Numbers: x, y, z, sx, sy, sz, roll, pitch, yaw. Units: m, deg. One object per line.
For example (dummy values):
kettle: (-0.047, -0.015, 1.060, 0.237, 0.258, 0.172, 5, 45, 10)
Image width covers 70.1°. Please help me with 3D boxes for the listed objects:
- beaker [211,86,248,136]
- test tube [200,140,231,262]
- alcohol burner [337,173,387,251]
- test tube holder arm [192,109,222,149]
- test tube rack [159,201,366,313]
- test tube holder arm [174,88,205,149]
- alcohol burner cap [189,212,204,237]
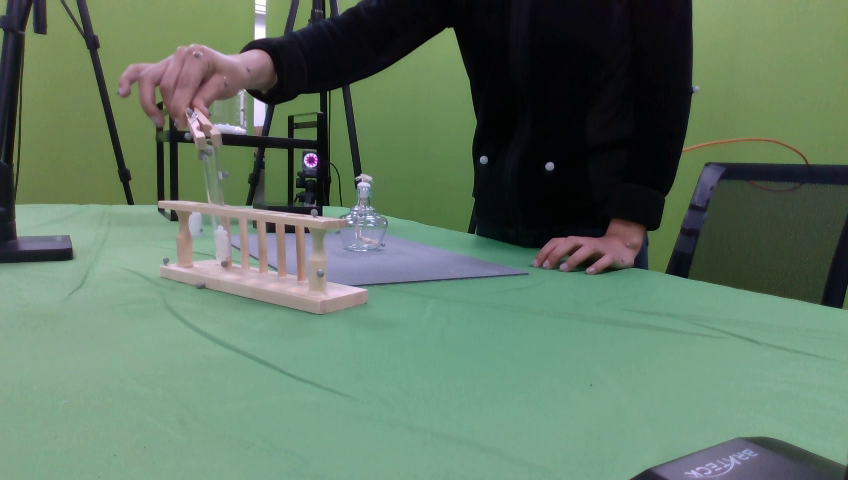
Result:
beaker: (-0.413, -0.274, 1.297, 0.074, 0.100, 0.083, -5, 11, -44)
test tube: (-0.216, -0.036, 0.628, 0.017, 0.150, 0.017, 4, 38, -3)
alcohol burner: (-0.095, -0.043, 0.926, 0.078, 0.119, 0.078, 3, 6, 0)
test tube holder arm: (-0.220, -0.111, 0.601, 0.010, 0.015, 0.087, -11, 32, -34)
test tube rack: (-0.173, 0.009, 0.624, 0.241, 0.085, 0.067, 7, 9, 34)
test tube holder arm: (-0.246, -0.130, 0.632, 0.013, 0.015, 0.177, -7, 30, -28)
alcohol burner cap: (-0.390, -0.029, 1.025, 0.034, 0.048, 0.034, 2, 8, 0)
